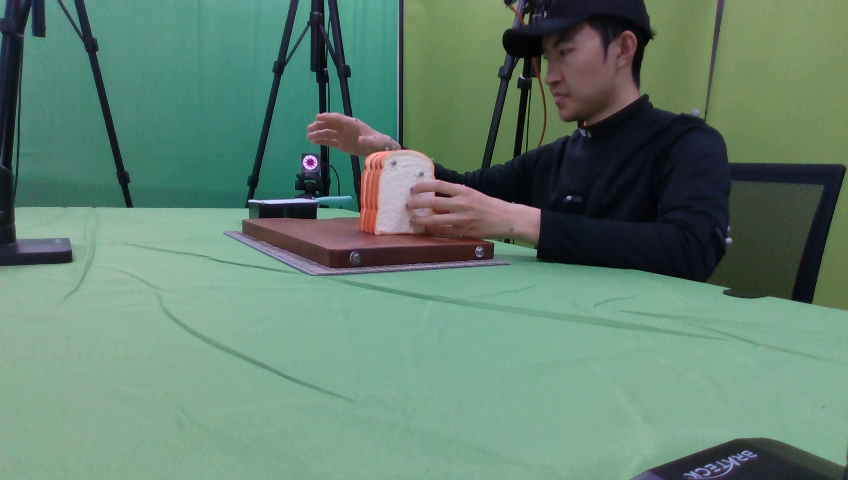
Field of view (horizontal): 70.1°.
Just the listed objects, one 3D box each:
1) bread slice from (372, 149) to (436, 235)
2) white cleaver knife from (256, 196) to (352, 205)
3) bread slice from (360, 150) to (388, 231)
[{"bbox_3d":[-0.031,-0.074,0.940,0.107,0.134,0.018,-5,10,-30],"label":"bread slice"},{"bbox_3d":[-0.257,-0.088,1.306,0.065,0.021,0.288,7,7,30],"label":"white cleaver knife"},{"bbox_3d":[-0.055,-0.080,0.986,0.105,0.131,0.019,0,1,-31],"label":"bread slice"}]
